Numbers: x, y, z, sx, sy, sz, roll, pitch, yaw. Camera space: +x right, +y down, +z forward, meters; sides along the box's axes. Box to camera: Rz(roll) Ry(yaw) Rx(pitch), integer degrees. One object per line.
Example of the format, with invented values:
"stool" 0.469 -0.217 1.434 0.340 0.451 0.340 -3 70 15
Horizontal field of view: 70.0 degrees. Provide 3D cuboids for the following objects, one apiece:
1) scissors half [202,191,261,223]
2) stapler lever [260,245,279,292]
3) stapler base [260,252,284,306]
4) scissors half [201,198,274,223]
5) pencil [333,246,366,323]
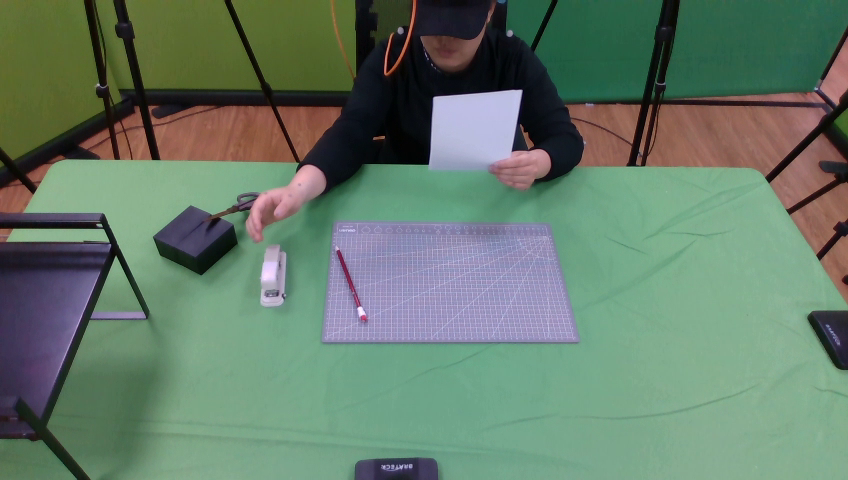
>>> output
"scissors half" -0.381 -0.065 1.198 0.040 0.013 0.175 24 29 9
"stapler lever" -0.279 0.045 1.097 0.027 0.040 0.117 -2 44 -9
"stapler base" -0.279 0.064 1.113 0.041 0.024 0.129 -2 44 -10
"scissors half" -0.365 -0.055 1.192 0.040 0.013 0.175 38 33 22
"pencil" -0.140 0.077 1.116 0.012 0.012 0.192 -14 48 -17
